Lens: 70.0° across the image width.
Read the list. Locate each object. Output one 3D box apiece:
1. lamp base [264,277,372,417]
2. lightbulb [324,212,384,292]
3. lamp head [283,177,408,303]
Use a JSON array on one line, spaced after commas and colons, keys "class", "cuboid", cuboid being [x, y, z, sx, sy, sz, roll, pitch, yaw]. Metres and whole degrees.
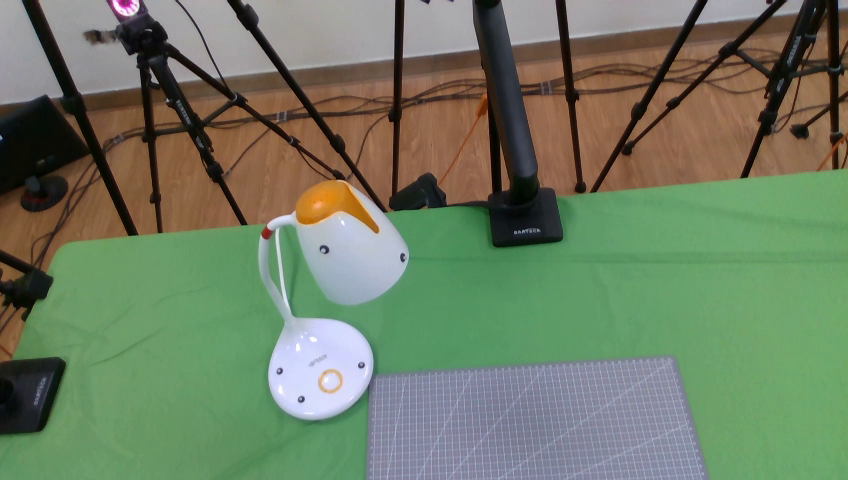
[{"class": "lamp base", "cuboid": [-0.175, 0.140, 0.865, 0.160, 0.182, 0.177, -39, 56, -19]}, {"class": "lightbulb", "cuboid": [-0.082, 0.012, 0.674, 0.059, 0.109, 0.059, -12, 40, 11]}, {"class": "lamp head", "cuboid": [-0.093, -0.009, 0.664, 0.112, 0.124, 0.111, -19, 40, 17]}]
